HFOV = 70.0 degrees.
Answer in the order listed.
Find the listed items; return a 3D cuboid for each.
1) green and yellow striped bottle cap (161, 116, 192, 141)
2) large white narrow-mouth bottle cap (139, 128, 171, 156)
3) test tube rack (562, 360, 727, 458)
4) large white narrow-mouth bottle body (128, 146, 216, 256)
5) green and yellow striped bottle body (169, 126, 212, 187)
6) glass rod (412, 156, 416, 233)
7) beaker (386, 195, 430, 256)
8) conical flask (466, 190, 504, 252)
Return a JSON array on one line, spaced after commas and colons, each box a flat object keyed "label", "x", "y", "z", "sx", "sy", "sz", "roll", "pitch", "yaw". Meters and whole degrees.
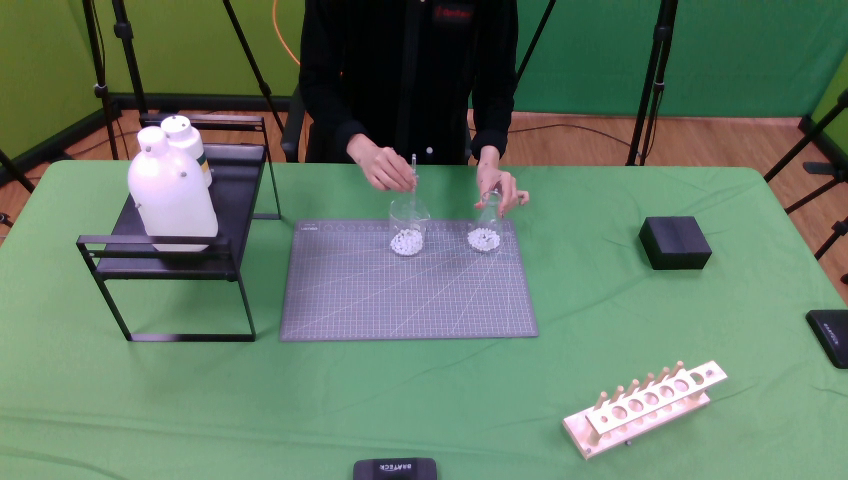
[{"label": "green and yellow striped bottle cap", "x": -0.387, "y": -0.174, "z": 0.946, "sx": 0.045, "sy": 0.020, "sz": 0.045, "roll": 3, "pitch": 44, "yaw": -3}, {"label": "large white narrow-mouth bottle cap", "x": -0.358, "y": -0.131, "z": 0.808, "sx": 0.038, "sy": 0.024, "sz": 0.037, "roll": 3, "pitch": 47, "yaw": -3}, {"label": "test tube rack", "x": 0.341, "y": 0.247, "z": 0.940, "sx": 0.243, "sy": 0.085, "sz": 0.066, "roll": -16, "pitch": 49, "yaw": -18}, {"label": "large white narrow-mouth bottle body", "x": -0.366, "y": -0.073, "z": 0.872, "sx": 0.102, "sy": 0.195, "sz": 0.101, "roll": 3, "pitch": 47, "yaw": -3}, {"label": "green and yellow striped bottle body", "x": -0.389, "y": -0.139, "z": 0.984, "sx": 0.063, "sy": 0.120, "sz": 0.063, "roll": 2, "pitch": 46, "yaw": -2}, {"label": "glass rod", "x": -0.018, "y": -0.079, "z": 1.125, "sx": 0.008, "sy": 0.201, "sz": 0.008, "roll": 1, "pitch": 49, "yaw": -1}, {"label": "beaker", "x": -0.031, "y": -0.024, "z": 1.161, "sx": 0.084, "sy": 0.101, "sz": 0.073, "roll": 18, "pitch": 48, "yaw": 12}, {"label": "conical flask", "x": 0.124, "y": -0.040, "z": 1.172, "sx": 0.075, "sy": 0.122, "sz": 0.075, "roll": 2, "pitch": 46, "yaw": -2}]
